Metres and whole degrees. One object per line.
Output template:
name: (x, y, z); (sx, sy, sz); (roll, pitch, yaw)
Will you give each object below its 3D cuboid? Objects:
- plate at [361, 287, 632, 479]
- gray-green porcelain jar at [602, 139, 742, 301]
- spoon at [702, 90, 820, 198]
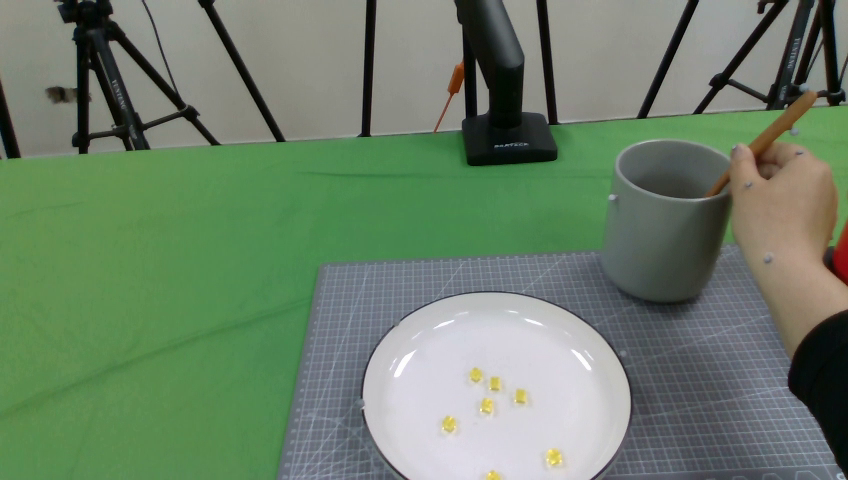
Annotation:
plate: (0.055, 0.120, 0.482); (0.207, 0.039, 0.205); (-2, 38, 2)
gray-green porcelain jar: (0.225, -0.014, 0.567); (0.106, 0.127, 0.105); (-3, 38, 2)
spoon: (0.255, -0.047, 0.511); (0.022, 0.195, 0.041); (13, 48, -11)
